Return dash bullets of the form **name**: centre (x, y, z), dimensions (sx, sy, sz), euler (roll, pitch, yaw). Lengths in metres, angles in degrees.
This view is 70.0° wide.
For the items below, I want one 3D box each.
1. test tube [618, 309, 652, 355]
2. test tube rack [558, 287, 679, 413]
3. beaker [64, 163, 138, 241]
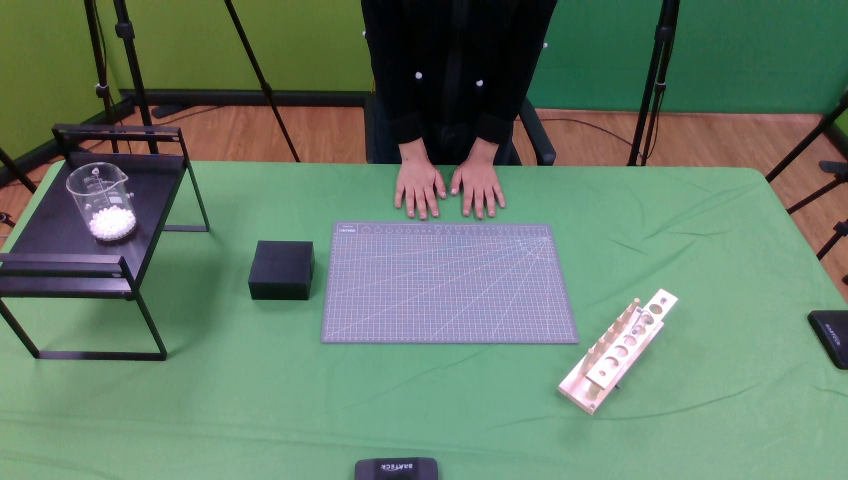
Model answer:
- **test tube**: centre (0.328, 0.155, 0.956), dimensions (0.017, 0.151, 0.017), euler (1, 50, -1)
- **test tube rack**: centre (0.326, 0.170, 1.009), dimensions (0.066, 0.085, 0.242), euler (35, 54, 26)
- **beaker**: centre (-0.478, -0.055, 0.910), dimensions (0.084, 0.101, 0.073), euler (-9, 48, -13)
